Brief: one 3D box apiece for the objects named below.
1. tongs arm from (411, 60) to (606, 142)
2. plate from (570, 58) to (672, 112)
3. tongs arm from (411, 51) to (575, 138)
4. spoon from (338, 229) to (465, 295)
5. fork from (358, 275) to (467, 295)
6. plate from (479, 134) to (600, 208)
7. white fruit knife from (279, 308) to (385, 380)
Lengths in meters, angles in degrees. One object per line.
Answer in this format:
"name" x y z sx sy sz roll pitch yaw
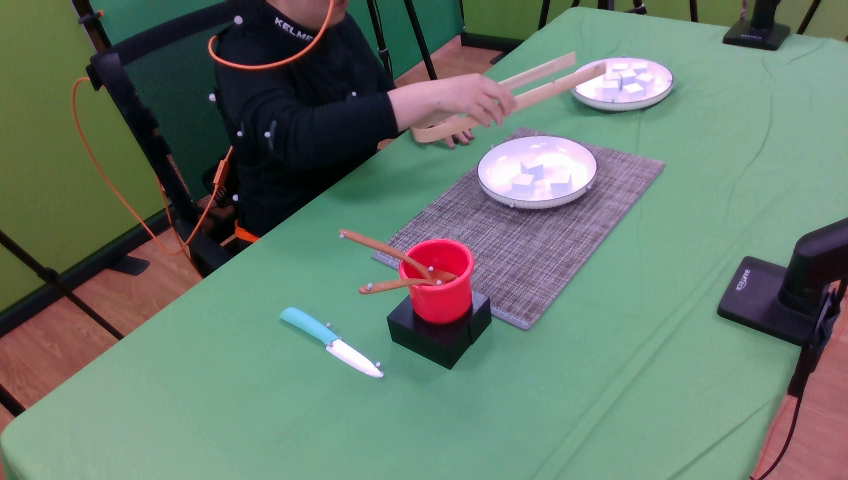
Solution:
"tongs arm" 0.159 -0.253 1.083 0.386 0.026 0.050 -25 39 -16
"plate" 0.411 -0.323 1.274 0.209 0.038 0.208 -5 41 5
"tongs arm" 0.135 -0.276 1.123 0.389 0.028 0.028 -28 43 -20
"spoon" -0.025 0.026 0.776 0.021 0.195 0.041 -41 34 32
"fork" -0.009 0.056 0.739 0.028 0.018 0.209 48 23 26
"plate" 0.202 -0.117 1.065 0.207 0.039 0.206 -5 40 5
"white fruit knife" -0.130 0.143 0.845 0.206 0.016 0.027 25 79 32
